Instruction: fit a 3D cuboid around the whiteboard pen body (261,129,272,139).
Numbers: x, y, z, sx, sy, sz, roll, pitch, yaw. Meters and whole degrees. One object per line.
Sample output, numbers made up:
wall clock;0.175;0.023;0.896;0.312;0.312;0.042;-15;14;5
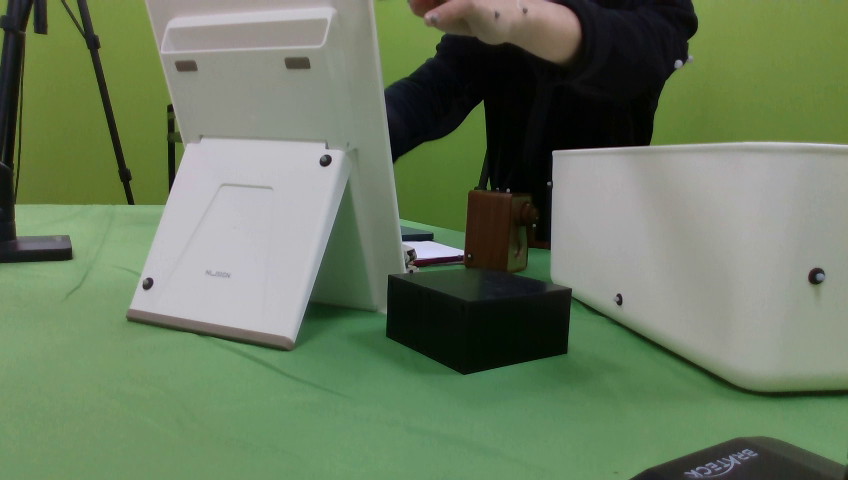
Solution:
whiteboard pen body;-0.361;-0.245;1.393;0.017;0.017;0.140;0;5;-20

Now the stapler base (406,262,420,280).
stapler base;-0.069;0.027;0.759;0.130;0.024;0.041;10;13;23

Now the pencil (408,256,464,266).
pencil;0.041;0.027;0.850;0.195;0.012;0.012;-4;10;-44

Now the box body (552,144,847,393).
box body;0.290;0.002;0.549;0.255;0.160;0.363;2;7;-10

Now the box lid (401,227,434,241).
box lid;-0.196;-0.015;1.105;0.373;0.015;0.262;-1;7;-32

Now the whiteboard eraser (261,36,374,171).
whiteboard eraser;-0.095;-0.114;0.517;0.055;0.112;0.042;41;35;-5

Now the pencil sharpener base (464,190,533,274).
pencil sharpener base;0.103;-0.012;0.812;0.076;0.107;0.061;8;9;36

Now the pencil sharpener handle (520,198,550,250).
pencil sharpener handle;0.147;-0.020;0.785;0.030;0.068;0.036;8;26;36

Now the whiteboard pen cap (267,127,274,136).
whiteboard pen cap;-0.340;-0.239;1.337;0.018;0.018;0.033;1;-1;-14

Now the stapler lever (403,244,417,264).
stapler lever;-0.066;0.003;0.754;0.117;0.040;0.027;9;13;23

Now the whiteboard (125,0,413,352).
whiteboard;-0.151;-0.050;0.471;0.216;0.305;0.144;6;27;24
